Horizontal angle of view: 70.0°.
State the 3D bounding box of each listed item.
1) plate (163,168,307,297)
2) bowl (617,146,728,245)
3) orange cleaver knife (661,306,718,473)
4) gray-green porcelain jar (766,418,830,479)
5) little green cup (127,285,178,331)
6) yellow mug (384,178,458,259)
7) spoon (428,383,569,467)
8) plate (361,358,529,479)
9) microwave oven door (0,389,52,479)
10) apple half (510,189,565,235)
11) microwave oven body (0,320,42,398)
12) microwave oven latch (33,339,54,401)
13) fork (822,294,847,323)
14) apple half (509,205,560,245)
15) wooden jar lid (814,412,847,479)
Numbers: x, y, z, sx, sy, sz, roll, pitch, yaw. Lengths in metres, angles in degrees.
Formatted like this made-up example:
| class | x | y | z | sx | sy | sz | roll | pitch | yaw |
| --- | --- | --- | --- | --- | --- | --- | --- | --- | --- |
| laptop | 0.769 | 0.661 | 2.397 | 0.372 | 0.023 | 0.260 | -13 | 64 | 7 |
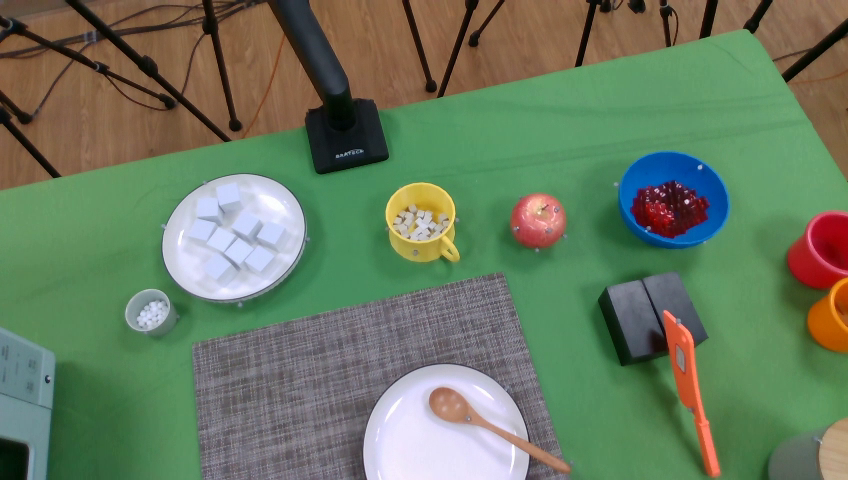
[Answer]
| class | x | y | z | sx | sy | sz | roll | pitch | yaw |
| --- | --- | --- | --- | --- | --- | --- | --- | --- | --- |
| plate | -0.274 | -0.010 | 0.897 | 0.207 | 0.039 | 0.206 | 0 | 65 | 1 |
| bowl | 0.347 | -0.051 | 0.877 | 0.151 | 0.077 | 0.150 | -1 | 65 | 2 |
| orange cleaver knife | 0.331 | 0.186 | 0.761 | 0.012 | 0.077 | 0.212 | -16 | 98 | -1 |
| gray-green porcelain jar | 0.471 | 0.266 | 0.700 | 0.106 | 0.127 | 0.105 | -1 | 65 | 2 |
| little green cup | -0.377 | 0.098 | 0.847 | 0.061 | 0.039 | 0.061 | 0 | 65 | 0 |
| yellow mug | 0.004 | -0.021 | 0.879 | 0.100 | 0.064 | 0.130 | -40 | 71 | -16 |
| spoon | 0.090 | 0.233 | 0.756 | 0.192 | 0.022 | 0.041 | 23 | 62 | 24 |
| plate | 0.026 | 0.255 | 0.762 | 0.209 | 0.038 | 0.207 | 0 | 66 | 1 |
| microwave oven door | -0.476 | 0.324 | 0.614 | 0.039 | 0.245 | 0.352 | -10 | 65 | -3 |
| apple half | 0.170 | -0.042 | 0.881 | 0.080 | 0.075 | 0.053 | 25 | 65 | 16 |
| microwave oven body | -0.627 | 0.313 | 0.629 | 0.326 | 0.262 | 0.438 | -10 | 66 | -4 |
| microwave oven latch | -0.509 | 0.172 | 0.797 | 0.030 | 0.030 | 0.078 | -9 | 66 | -3 |
| fork | 0.559 | 0.120 | 0.752 | 0.028 | 0.019 | 0.206 | 2 | 22 | 2 |
| apple half | 0.152 | -0.012 | 0.866 | 0.081 | 0.082 | 0.032 | 26 | 65 | 13 |
| wooden jar lid | 0.469 | 0.238 | 0.645 | 0.108 | 0.021 | 0.107 | 0 | 67 | 1 |
